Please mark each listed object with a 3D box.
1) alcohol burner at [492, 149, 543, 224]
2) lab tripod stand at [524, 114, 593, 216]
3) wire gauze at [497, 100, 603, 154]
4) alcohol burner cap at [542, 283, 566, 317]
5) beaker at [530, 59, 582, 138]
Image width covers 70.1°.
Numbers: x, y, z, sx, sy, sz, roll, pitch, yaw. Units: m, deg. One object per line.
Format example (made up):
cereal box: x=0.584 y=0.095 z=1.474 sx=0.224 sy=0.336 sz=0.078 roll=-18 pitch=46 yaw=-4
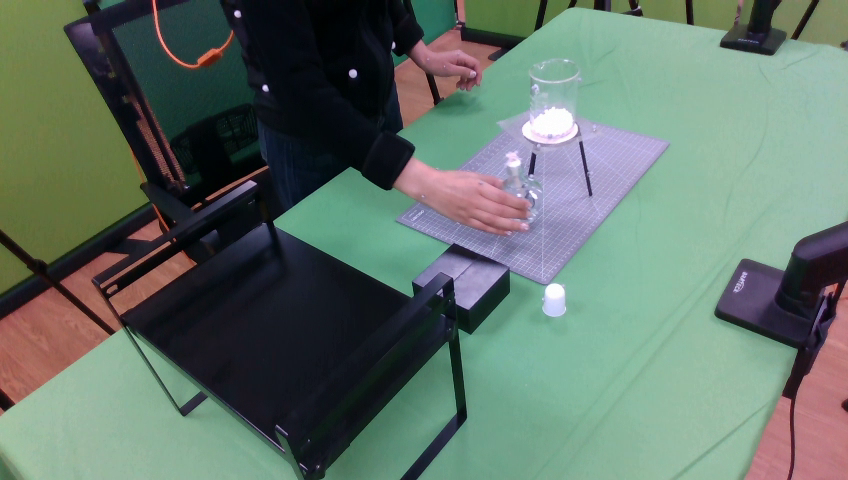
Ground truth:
alcohol burner: x=0.138 y=-0.084 z=0.904 sx=0.078 sy=0.120 sz=0.077 roll=-7 pitch=40 yaw=6
lab tripod stand: x=0.210 y=-0.127 z=1.001 sx=0.148 sy=0.132 sz=0.147 roll=-4 pitch=43 yaw=4
wire gauze: x=0.199 y=-0.179 z=0.962 sx=0.125 sy=0.011 sz=0.120 roll=-21 pitch=42 yaw=-12
alcohol burner cap: x=0.181 y=0.081 z=0.839 sx=0.034 sy=0.048 sz=0.033 roll=-3 pitch=40 yaw=3
beaker: x=0.198 y=-0.217 z=0.932 sx=0.074 sy=0.101 sz=0.083 roll=-22 pitch=43 yaw=-16
